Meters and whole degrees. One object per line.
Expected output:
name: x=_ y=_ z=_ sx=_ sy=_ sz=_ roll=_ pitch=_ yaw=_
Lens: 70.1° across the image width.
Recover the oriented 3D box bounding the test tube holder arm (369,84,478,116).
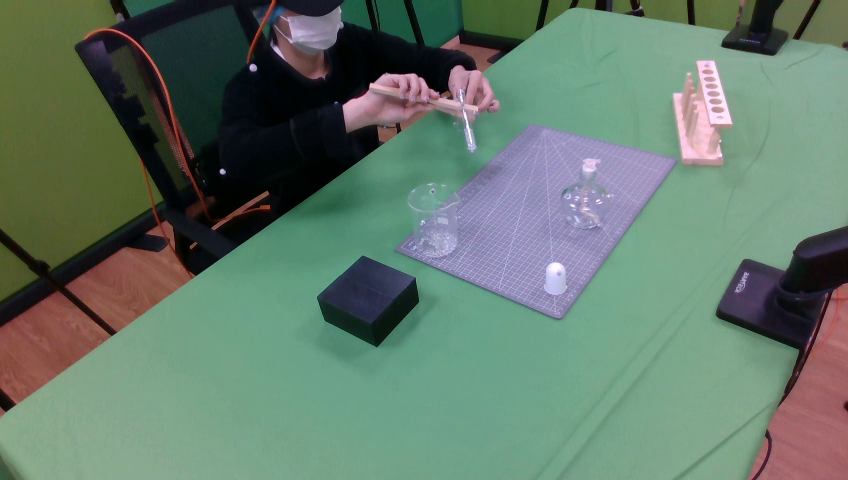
test tube holder arm: x=0.000 y=-0.226 z=0.974 sx=0.179 sy=0.013 sz=0.015 roll=12 pitch=43 yaw=-9

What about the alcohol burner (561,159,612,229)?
alcohol burner: x=0.257 y=-0.077 z=0.951 sx=0.078 sy=0.119 sz=0.077 roll=-3 pitch=40 yaw=3

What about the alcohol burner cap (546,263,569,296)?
alcohol burner cap: x=0.191 y=0.053 z=0.862 sx=0.034 sy=0.048 sz=0.033 roll=-5 pitch=40 yaw=4

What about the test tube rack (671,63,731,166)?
test tube rack: x=0.513 y=-0.241 z=1.132 sx=0.066 sy=0.085 sz=0.242 roll=4 pitch=41 yaw=14

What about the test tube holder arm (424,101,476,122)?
test tube holder arm: x=0.042 y=-0.212 z=0.985 sx=0.088 sy=0.010 sz=0.015 roll=15 pitch=43 yaw=-12

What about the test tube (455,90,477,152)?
test tube: x=0.068 y=-0.193 z=0.974 sx=0.017 sy=0.017 sz=0.149 roll=-8 pitch=49 yaw=0

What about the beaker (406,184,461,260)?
beaker: x=0.019 y=-0.026 z=0.939 sx=0.084 sy=0.101 sz=0.074 roll=1 pitch=41 yaw=10

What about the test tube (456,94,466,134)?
test tube: x=0.068 y=-0.227 z=1.104 sx=0.017 sy=0.151 sz=0.017 roll=0 pitch=78 yaw=3
